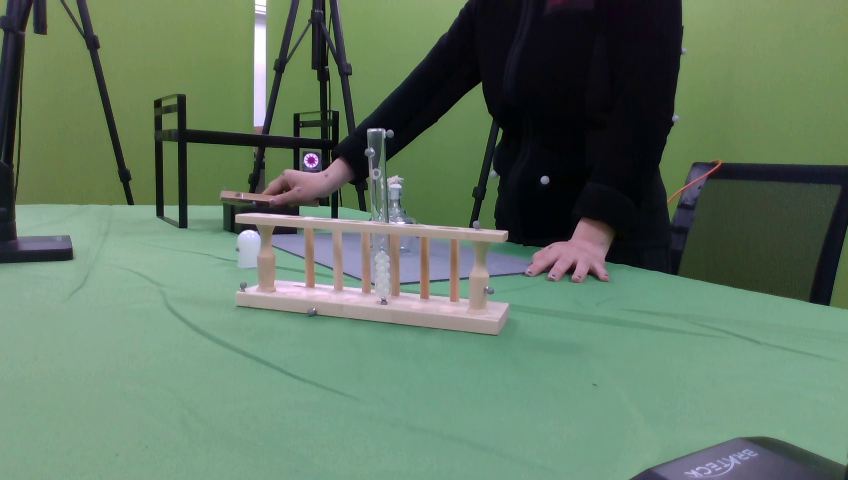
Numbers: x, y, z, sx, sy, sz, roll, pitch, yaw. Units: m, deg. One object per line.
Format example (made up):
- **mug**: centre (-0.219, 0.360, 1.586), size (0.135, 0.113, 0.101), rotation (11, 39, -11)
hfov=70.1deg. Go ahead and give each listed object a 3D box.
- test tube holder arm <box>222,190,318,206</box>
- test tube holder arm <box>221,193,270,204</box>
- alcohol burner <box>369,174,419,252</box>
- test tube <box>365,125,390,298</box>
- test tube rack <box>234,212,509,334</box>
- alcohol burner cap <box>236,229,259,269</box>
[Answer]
- **test tube holder arm**: centre (-0.280, -0.076, 1.114), size (0.179, 0.015, 0.013), rotation (3, -19, -30)
- **test tube holder arm**: centre (-0.322, -0.076, 1.096), size (0.088, 0.015, 0.010), rotation (2, -19, -30)
- **alcohol burner**: centre (-0.046, -0.041, 0.922), size (0.078, 0.119, 0.078), rotation (1, 9, 0)
- **test tube**: centre (-0.040, -0.023, 0.523), size (0.017, 0.150, 0.017), rotation (-2, 8, 1)
- **test tube rack**: centre (-0.046, 0.023, 0.547), size (0.242, 0.085, 0.067), rotation (4, 8, 15)
- **alcohol burner cap**: centre (-0.220, 0.010, 0.759), size (0.034, 0.048, 0.034), rotation (0, 12, 0)
